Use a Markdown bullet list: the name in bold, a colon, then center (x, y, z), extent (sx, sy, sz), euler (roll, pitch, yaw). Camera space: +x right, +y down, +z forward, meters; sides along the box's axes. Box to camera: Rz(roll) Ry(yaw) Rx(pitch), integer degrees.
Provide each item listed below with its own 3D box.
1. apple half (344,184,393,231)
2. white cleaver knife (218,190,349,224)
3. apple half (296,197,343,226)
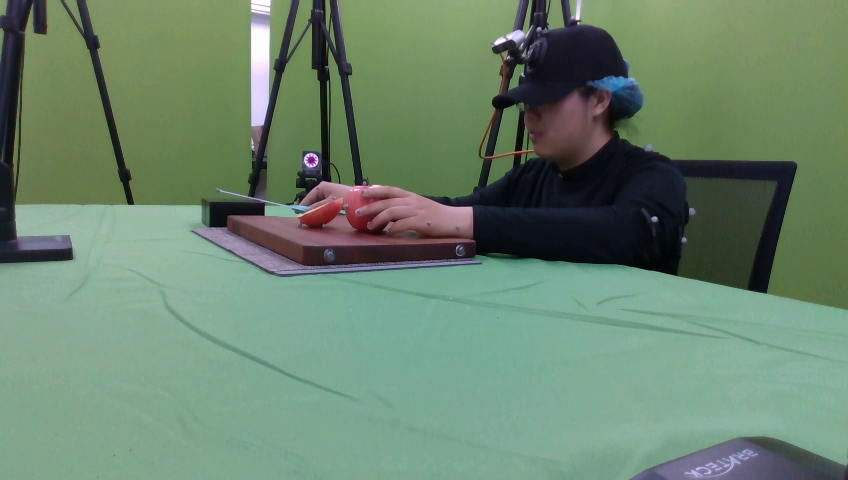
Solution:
- **apple half**: center (-0.079, -0.049, 0.946), extent (0.053, 0.074, 0.081), euler (14, 10, 42)
- **white cleaver knife**: center (-0.275, -0.066, 1.232), extent (0.288, 0.021, 0.065), euler (11, 6, -29)
- **apple half**: center (-0.163, -0.041, 0.979), extent (0.081, 0.033, 0.081), euler (-21, 7, 3)
